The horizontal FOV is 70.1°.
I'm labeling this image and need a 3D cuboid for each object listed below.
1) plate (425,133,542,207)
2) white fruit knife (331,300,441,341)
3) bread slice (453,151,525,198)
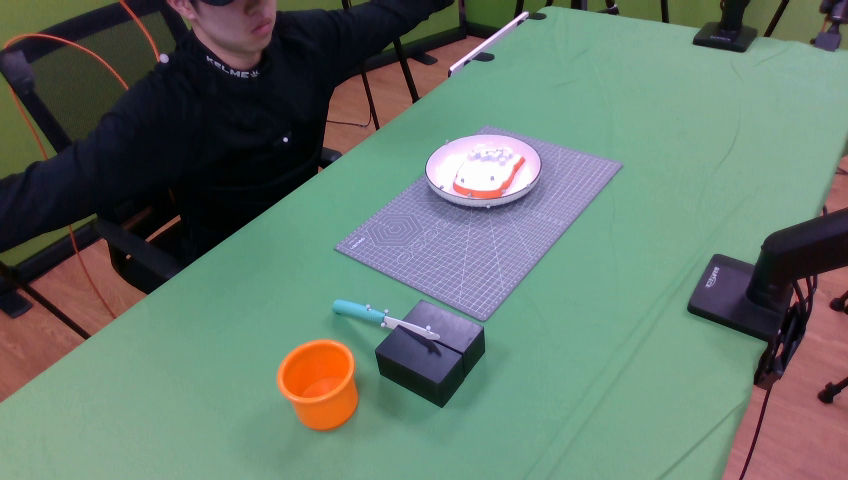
[{"bbox_3d":[0.106,-0.121,1.079,0.209,0.038,0.208,-4,41,4],"label":"plate"},{"bbox_3d":[-0.056,0.107,0.807,0.205,0.027,0.016,9,42,40],"label":"white fruit knife"},{"bbox_3d":[0.112,-0.118,1.079,0.104,0.019,0.131,11,42,22],"label":"bread slice"}]
